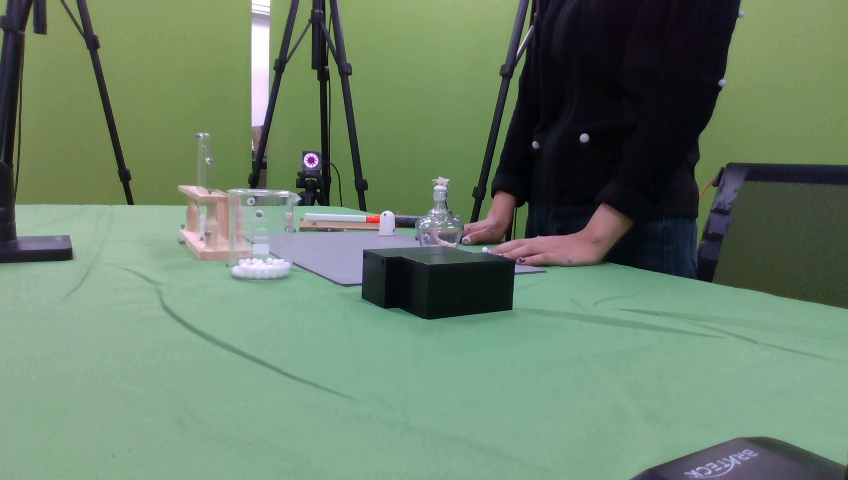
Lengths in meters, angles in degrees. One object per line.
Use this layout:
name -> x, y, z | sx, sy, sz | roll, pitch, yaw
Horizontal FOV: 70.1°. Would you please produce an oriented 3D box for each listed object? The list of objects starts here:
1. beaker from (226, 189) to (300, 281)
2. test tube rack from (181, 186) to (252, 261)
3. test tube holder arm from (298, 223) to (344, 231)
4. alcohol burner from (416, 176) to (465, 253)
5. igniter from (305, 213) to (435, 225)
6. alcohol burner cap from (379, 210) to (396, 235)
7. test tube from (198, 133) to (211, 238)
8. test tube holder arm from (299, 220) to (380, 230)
beaker -> -0.184, -0.007, 0.694 | 0.084, 0.100, 0.073 | -1, 8, -29
test tube rack -> -0.312, -0.031, 0.893 | 0.067, 0.085, 0.241 | -1, 8, -27
test tube holder arm -> -0.197, -0.026, 1.163 | 0.088, 0.015, 0.010 | 0, -26, -20
alcohol burner -> 0.025, -0.040, 0.935 | 0.078, 0.119, 0.078 | 1, 6, 0
igniter -> -0.114, -0.046, 1.296 | 0.277, 0.025, 0.057 | 1, -2, -11
alcohol burner cap -> -0.067, -0.033, 1.129 | 0.034, 0.048, 0.034 | 2, 8, 0
test tube -> -0.316, -0.078, 0.871 | 0.017, 0.150, 0.017 | 2, 3, 0
test tube holder arm -> -0.153, -0.028, 1.174 | 0.179, 0.015, 0.013 | 1, -27, -21
